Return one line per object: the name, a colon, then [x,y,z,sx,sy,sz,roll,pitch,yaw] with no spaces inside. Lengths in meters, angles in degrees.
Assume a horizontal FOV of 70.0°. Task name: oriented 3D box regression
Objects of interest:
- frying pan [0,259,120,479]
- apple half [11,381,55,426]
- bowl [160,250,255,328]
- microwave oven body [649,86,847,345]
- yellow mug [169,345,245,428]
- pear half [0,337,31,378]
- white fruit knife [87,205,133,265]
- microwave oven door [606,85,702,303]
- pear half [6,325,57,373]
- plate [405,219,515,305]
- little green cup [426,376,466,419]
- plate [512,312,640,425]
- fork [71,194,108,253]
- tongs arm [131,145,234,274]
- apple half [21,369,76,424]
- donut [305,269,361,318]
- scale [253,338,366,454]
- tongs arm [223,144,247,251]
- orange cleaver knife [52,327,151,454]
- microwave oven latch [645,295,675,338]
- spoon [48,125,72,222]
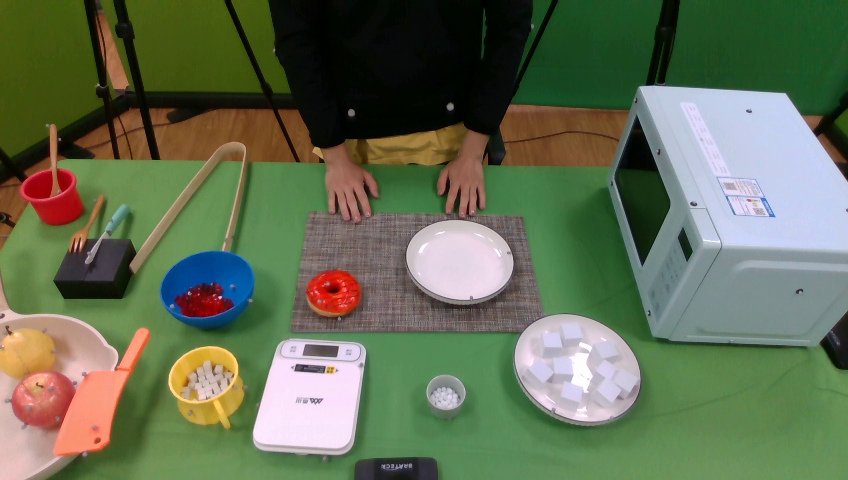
frying pan: [-0.647,0.164,0.936,0.307,0.103,0.485,-19,58,-22]
apple half: [-0.570,0.246,0.875,0.081,0.081,0.033,32,49,24]
bowl: [-0.362,0.098,1.039,0.151,0.077,0.150,2,45,-2]
microwave oven body: [0.567,-0.053,1.118,0.326,0.261,0.439,2,45,-1]
yellow mug: [-0.322,0.230,0.922,0.100,0.064,0.130,-24,53,-25]
pear half: [-0.631,0.183,0.923,0.070,0.088,0.031,28,50,14]
white fruit knife: [-0.584,-0.013,1.129,0.016,0.027,0.206,0,32,-4]
microwave oven door: [0.422,-0.094,1.140,0.039,0.245,0.353,2,46,-1]
pear half: [-0.607,0.158,0.935,0.076,0.110,0.056,30,51,19]
plate: [0.067,0.044,1.144,0.209,0.038,0.208,2,46,-2]
little green cup: [0.033,0.248,0.950,0.061,0.039,0.061,2,46,-2]
plate: [0.246,0.213,0.999,0.208,0.039,0.206,2,46,-2]
fork: [-0.634,-0.036,1.158,0.028,0.019,0.206,-7,31,-8]
tongs arm: [-0.485,-0.076,1.235,0.028,0.028,0.385,6,44,12]
apple half: [-0.546,0.226,0.898,0.080,0.075,0.053,30,48,27]
donut: [-0.160,0.094,1.075,0.099,0.048,0.098,3,45,-3]
scale: [-0.175,0.236,0.951,0.149,0.032,0.199,4,45,0]
tongs arm: [-0.398,-0.072,1.232,0.051,0.026,0.382,-2,45,-1]
orange cleaver knife: [-0.462,0.212,0.879,0.077,0.012,0.210,6,45,-1]
microwave oven latch: [0.411,0.134,1.061,0.030,0.029,0.078,3,45,0]
spoon: [-0.718,-0.131,1.189,0.041,0.021,0.193,-4,90,-6]
